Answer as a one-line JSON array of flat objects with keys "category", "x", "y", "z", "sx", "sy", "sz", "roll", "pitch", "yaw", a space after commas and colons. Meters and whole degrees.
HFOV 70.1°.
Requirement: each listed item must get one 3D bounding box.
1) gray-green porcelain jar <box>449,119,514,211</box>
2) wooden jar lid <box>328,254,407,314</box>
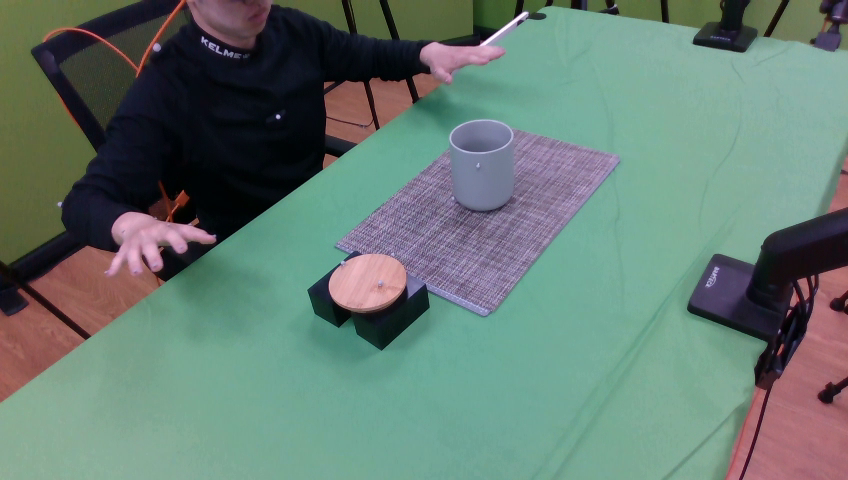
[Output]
[{"category": "gray-green porcelain jar", "x": 0.098, "y": -0.120, "z": 1.008, "sx": 0.106, "sy": 0.127, "sz": 0.105, "roll": -4, "pitch": 41, "yaw": 4}, {"category": "wooden jar lid", "x": -0.077, "y": 0.062, "z": 0.832, "sx": 0.108, "sy": 0.021, "sz": 0.108, "roll": -4, "pitch": 39, "yaw": 4}]
